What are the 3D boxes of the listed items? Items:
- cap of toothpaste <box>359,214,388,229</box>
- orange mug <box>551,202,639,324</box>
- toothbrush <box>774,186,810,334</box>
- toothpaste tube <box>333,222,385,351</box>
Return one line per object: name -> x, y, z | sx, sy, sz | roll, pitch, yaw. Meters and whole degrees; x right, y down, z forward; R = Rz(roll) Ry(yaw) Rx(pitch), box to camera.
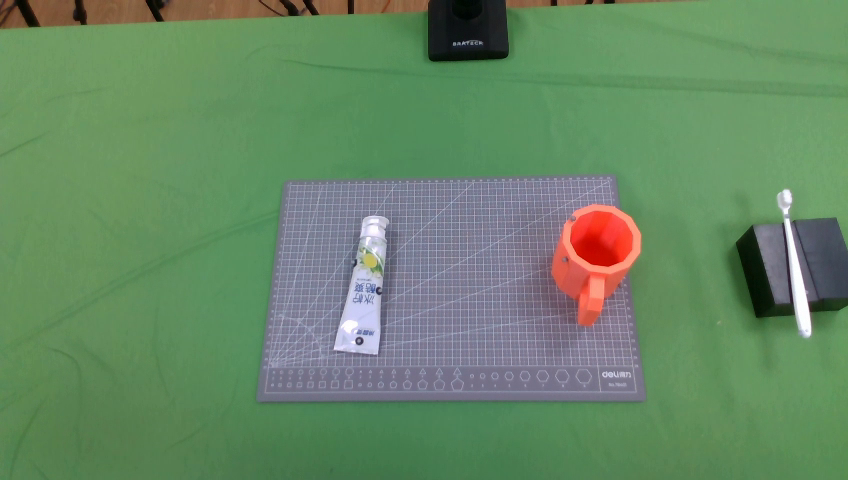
cap of toothpaste -> -0.065, -0.022, 0.777 | 0.037, 0.037, 0.011 | -4, 65, 1
orange mug -> 0.196, 0.030, 0.707 | 0.083, 0.101, 0.125 | 7, 62, 7
toothbrush -> 0.423, 0.019, 0.694 | 0.014, 0.017, 0.180 | 5, 67, 2
toothpaste tube -> -0.075, 0.054, 0.751 | 0.055, 0.035, 0.164 | 2, 70, 10
